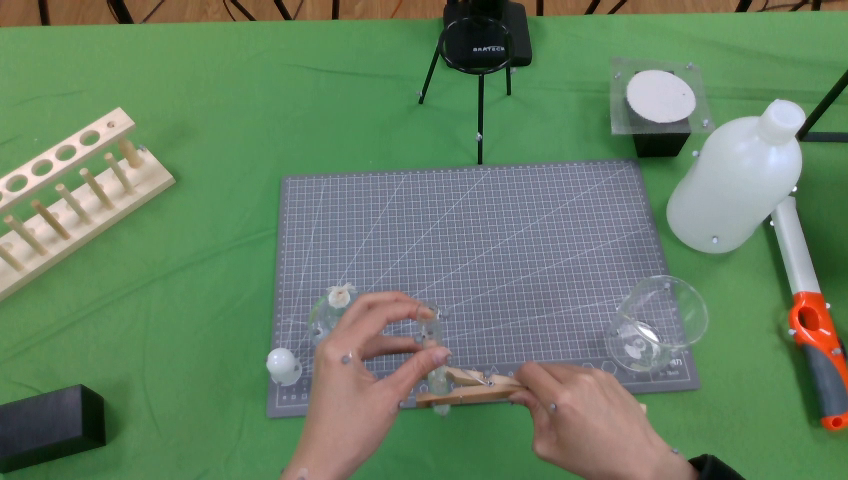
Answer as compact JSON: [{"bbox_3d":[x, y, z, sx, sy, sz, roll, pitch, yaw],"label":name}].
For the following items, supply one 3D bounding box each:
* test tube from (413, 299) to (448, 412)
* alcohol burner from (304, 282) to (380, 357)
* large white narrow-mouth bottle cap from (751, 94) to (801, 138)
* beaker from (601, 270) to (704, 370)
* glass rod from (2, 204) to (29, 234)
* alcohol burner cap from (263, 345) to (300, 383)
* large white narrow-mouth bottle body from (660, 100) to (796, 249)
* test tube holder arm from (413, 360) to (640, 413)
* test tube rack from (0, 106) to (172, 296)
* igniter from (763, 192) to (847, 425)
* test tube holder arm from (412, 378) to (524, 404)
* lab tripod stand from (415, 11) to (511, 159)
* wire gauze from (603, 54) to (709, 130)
[{"bbox_3d":[0.006,0.093,0.459,0.017,0.152,0.017,-3,49,4],"label":"test tube"},{"bbox_3d":[-0.083,0.073,0.608,0.078,0.120,0.077,1,60,-2],"label":"alcohol burner"},{"bbox_3d":[0.333,-0.118,0.575,0.038,0.024,0.037,0,61,0],"label":"large white narrow-mouth bottle cap"},{"bbox_3d":[0.223,0.085,0.614,0.084,0.101,0.073,2,61,2],"label":"beaker"},{"bbox_3d":[-0.453,-0.065,0.620,0.008,0.201,0.008,2,53,-2],"label":"glass rod"},{"bbox_3d":[-0.147,0.125,0.620,0.034,0.048,0.033,0,63,1],"label":"alcohol burner cap"},{"bbox_3d":[0.332,-0.075,0.650,0.102,0.196,0.101,0,61,0],"label":"large white narrow-mouth bottle body"},{"bbox_3d":[0.079,0.115,0.478,0.178,0.015,0.013,8,56,5],"label":"test tube holder arm"},{"bbox_3d":[-0.420,-0.041,0.683,0.242,0.086,0.066,-40,69,-20],"label":"test tube rack"},{"bbox_3d":[0.420,0.065,0.672,0.057,0.025,0.274,6,61,-9],"label":"igniter"},{"bbox_3d":[0.034,0.118,0.476,0.088,0.015,0.010,-6,55,-4],"label":"test tube holder arm"},{"bbox_3d":[0.057,-0.196,0.746,0.148,0.132,0.147,1,63,-2],"label":"lab tripod stand"},{"bbox_3d":[0.286,-0.185,0.759,0.121,0.011,0.124,4,61,1],"label":"wire gauze"}]
